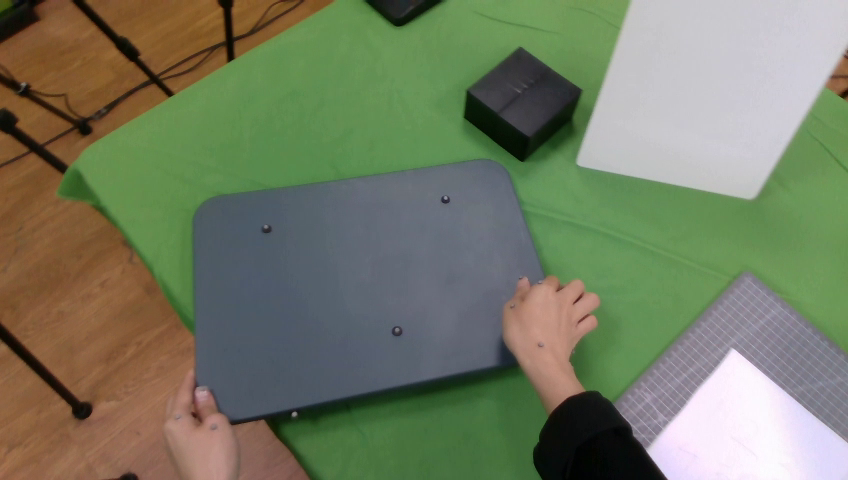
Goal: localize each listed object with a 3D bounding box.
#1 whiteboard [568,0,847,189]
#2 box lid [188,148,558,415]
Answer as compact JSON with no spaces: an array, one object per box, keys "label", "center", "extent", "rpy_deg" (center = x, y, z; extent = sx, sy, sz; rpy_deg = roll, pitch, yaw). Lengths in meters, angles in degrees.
[{"label":"whiteboard","center":[0.309,-0.236,0.678],"extent":[0.217,0.308,0.143],"rpy_deg":[12,45,5]},{"label":"box lid","center":[-0.064,0.028,0.651],"extent":[0.372,0.015,0.260],"rpy_deg":[-10,61,-8]}]
